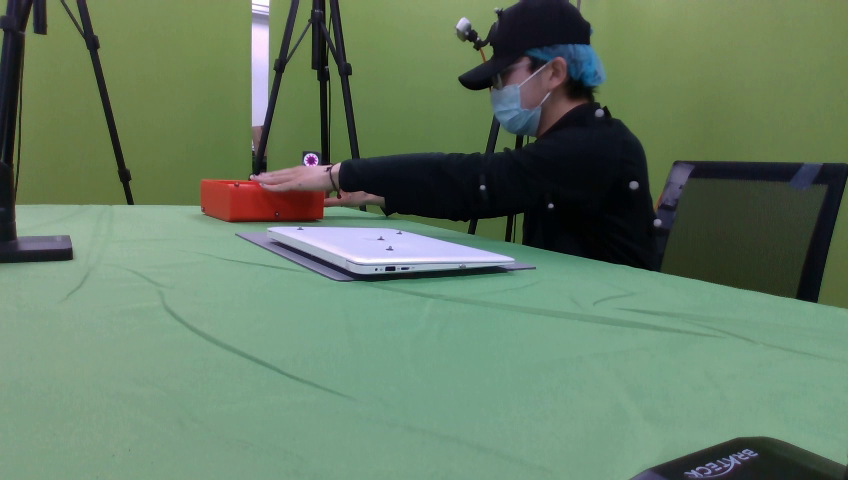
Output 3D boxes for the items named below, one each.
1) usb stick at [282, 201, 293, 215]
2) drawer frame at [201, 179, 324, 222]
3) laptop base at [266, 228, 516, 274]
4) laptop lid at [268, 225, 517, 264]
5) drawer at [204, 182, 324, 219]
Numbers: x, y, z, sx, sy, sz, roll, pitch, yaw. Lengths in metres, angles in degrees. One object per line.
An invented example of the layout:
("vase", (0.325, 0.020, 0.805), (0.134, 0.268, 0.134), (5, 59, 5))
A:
("usb stick", (-0.309, -0.073, 1.368), (0.021, 0.027, 0.059), (6, 6, -14))
("drawer frame", (-0.362, -0.092, 1.356), (0.215, 0.082, 0.200), (-4, 10, -37))
("laptop base", (-0.065, 0.014, 0.877), (0.237, 0.023, 0.352), (2, 6, -32))
("laptop lid", (-0.063, 0.002, 0.877), (0.243, 0.013, 0.355), (1, 7, -30))
("drawer", (-0.361, -0.091, 1.358), (0.213, 0.073, 0.193), (-4, 11, -36))
